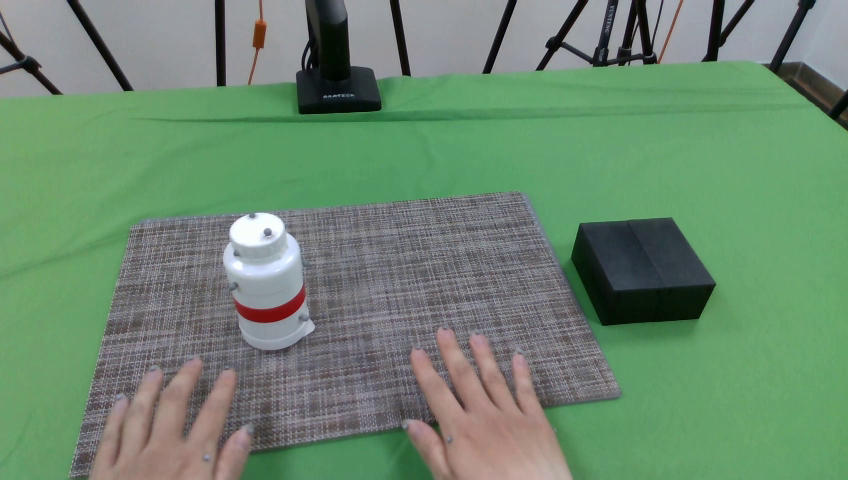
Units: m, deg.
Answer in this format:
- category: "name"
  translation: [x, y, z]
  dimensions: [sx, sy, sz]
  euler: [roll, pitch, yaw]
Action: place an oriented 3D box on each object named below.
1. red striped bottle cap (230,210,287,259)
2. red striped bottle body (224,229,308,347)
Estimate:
- category: "red striped bottle cap"
  translation: [-0.136, -0.005, 0.497]
  dimensions: [0.044, 0.018, 0.044]
  euler: [5, 40, -4]
- category: "red striped bottle body"
  translation: [-0.138, 0.034, 0.533]
  dimensions: [0.063, 0.121, 0.062]
  euler: [2, 42, -1]
